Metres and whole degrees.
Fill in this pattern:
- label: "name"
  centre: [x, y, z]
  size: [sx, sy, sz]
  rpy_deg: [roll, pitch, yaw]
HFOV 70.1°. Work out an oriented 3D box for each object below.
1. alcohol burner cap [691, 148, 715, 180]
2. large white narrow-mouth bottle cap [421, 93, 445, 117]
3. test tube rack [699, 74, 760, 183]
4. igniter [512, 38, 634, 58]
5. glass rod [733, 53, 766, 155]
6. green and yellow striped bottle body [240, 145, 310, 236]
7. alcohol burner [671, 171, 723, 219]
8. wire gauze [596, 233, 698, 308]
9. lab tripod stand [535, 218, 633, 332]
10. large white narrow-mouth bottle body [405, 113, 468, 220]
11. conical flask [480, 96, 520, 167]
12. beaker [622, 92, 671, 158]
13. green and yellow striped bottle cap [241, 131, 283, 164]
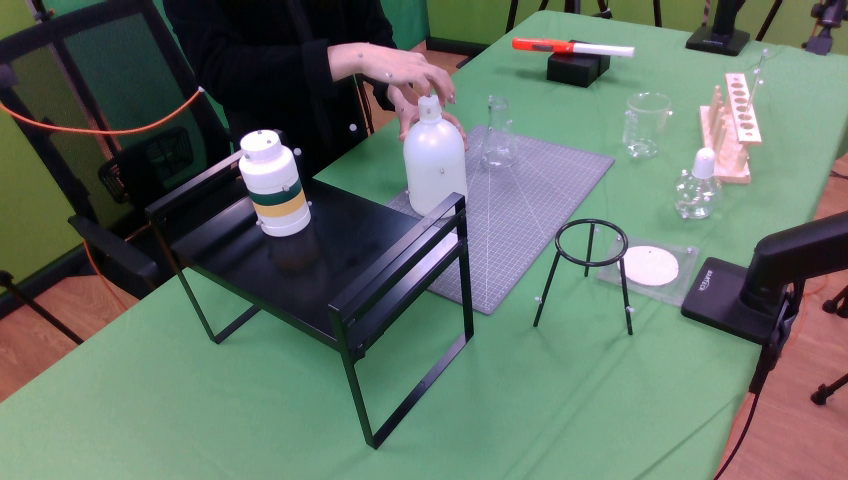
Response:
- label: "alcohol burner cap"
  centre: [0.432, -0.120, 0.930]
  size: [0.034, 0.048, 0.033]
  rpy_deg: [-7, 48, 8]
- label: "large white narrow-mouth bottle cap"
  centre: [0.013, -0.209, 0.938]
  size: [0.038, 0.024, 0.037]
  rpy_deg: [-3, 39, 3]
- label: "test tube rack"
  centre: [0.547, -0.208, 1.095]
  size: [0.066, 0.085, 0.242]
  rpy_deg: [6, 42, 16]
- label: "igniter"
  centre: [0.328, -0.433, 1.360]
  size: [0.275, 0.025, 0.057]
  rpy_deg: [12, 33, 20]
- label: "glass rod"
  centre: [0.540, -0.220, 1.007]
  size: [0.008, 0.201, 0.008]
  rpy_deg: [-5, 46, 6]
- label: "green and yellow striped bottle body"
  centre: [-0.181, -0.069, 0.729]
  size: [0.063, 0.120, 0.063]
  rpy_deg: [-4, 40, 4]
- label: "alcohol burner"
  centre: [0.434, -0.093, 0.955]
  size: [0.078, 0.119, 0.077]
  rpy_deg: [-3, 43, 3]
- label: "wire gauze"
  centre: [0.331, 0.038, 0.897]
  size: [0.124, 0.011, 0.121]
  rpy_deg: [18, 47, 26]
- label: "lab tripod stand"
  centre: [0.215, 0.050, 0.803]
  size: [0.148, 0.132, 0.147]
  rpy_deg: [-4, 42, 4]
- label: "large white narrow-mouth bottle body"
  centre: [0.019, -0.136, 0.998]
  size: [0.102, 0.195, 0.101]
  rpy_deg: [-3, 39, 3]
- label: "conical flask"
  centre: [0.138, -0.201, 1.111]
  size: [0.075, 0.122, 0.075]
  rpy_deg: [-4, 40, 4]
- label: "beaker"
  centre: [0.402, -0.210, 1.106]
  size: [0.074, 0.101, 0.083]
  rpy_deg: [-9, 40, -2]
- label: "green and yellow striped bottle cap"
  centre: [-0.187, -0.107, 0.695]
  size: [0.045, 0.020, 0.045]
  rpy_deg: [-4, 39, 3]
